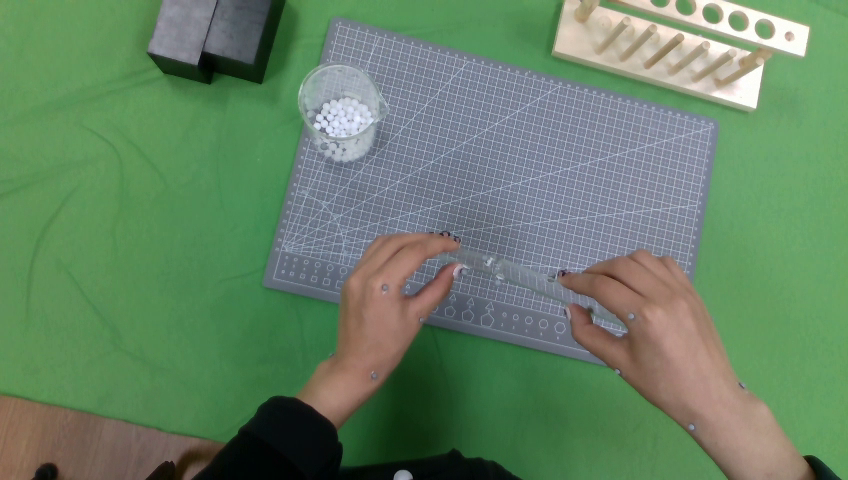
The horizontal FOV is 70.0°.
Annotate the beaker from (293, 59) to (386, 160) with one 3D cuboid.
[{"bbox_3d":[-0.081,-0.123,0.596,0.084,0.100,0.074,6,83,-6],"label":"beaker"}]

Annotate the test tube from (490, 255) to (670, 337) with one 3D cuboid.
[{"bbox_3d":[0.123,0.045,0.476,0.150,0.017,0.017,21,82,-1],"label":"test tube"}]

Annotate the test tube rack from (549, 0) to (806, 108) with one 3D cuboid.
[{"bbox_3d":[0.269,-0.218,0.656,0.243,0.085,0.066,14,82,-5],"label":"test tube rack"}]

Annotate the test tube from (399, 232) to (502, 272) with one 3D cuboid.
[{"bbox_3d":[0.018,0.009,0.540,0.017,0.149,0.017,-6,101,-31],"label":"test tube"}]
